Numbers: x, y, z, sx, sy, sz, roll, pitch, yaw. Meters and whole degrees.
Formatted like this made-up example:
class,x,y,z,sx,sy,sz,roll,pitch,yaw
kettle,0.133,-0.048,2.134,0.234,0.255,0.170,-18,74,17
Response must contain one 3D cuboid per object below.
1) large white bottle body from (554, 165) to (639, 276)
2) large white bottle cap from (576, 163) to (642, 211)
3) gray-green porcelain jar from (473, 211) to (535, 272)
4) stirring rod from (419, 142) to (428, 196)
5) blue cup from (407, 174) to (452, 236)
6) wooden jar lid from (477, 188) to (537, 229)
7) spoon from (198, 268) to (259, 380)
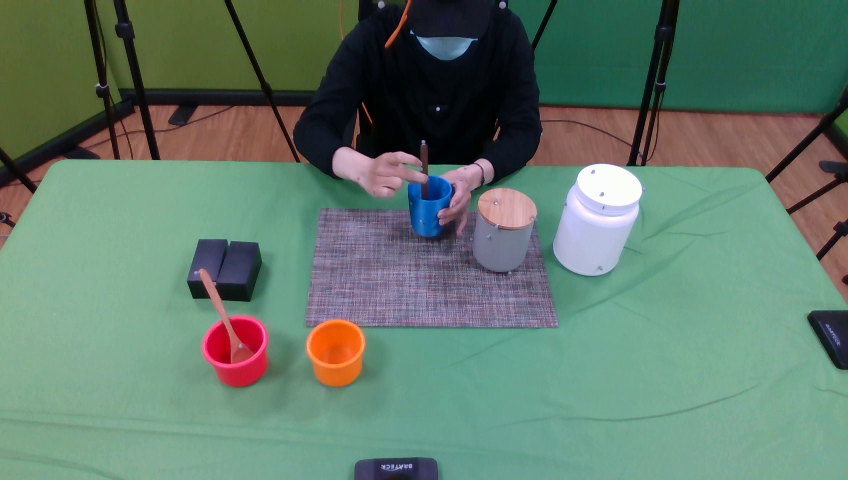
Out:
class,x,y,z,sx,sy,sz,roll,pitch,yaw
large white bottle body,0.326,-0.037,1.141,0.131,0.185,0.130,2,46,-2
large white bottle cap,0.330,-0.096,1.081,0.115,0.018,0.114,2,46,-2
gray-green porcelain jar,0.147,-0.010,1.139,0.106,0.127,0.105,2,46,-2
stirring rod,0.000,-0.100,1.118,0.014,0.177,0.006,-23,42,-27
blue cup,0.009,-0.063,1.172,0.092,0.101,0.092,1,43,-1
wooden jar lid,0.149,-0.054,1.094,0.108,0.021,0.107,4,45,-4
spoon,-0.312,0.132,0.962,0.041,0.021,0.194,-24,96,-20
